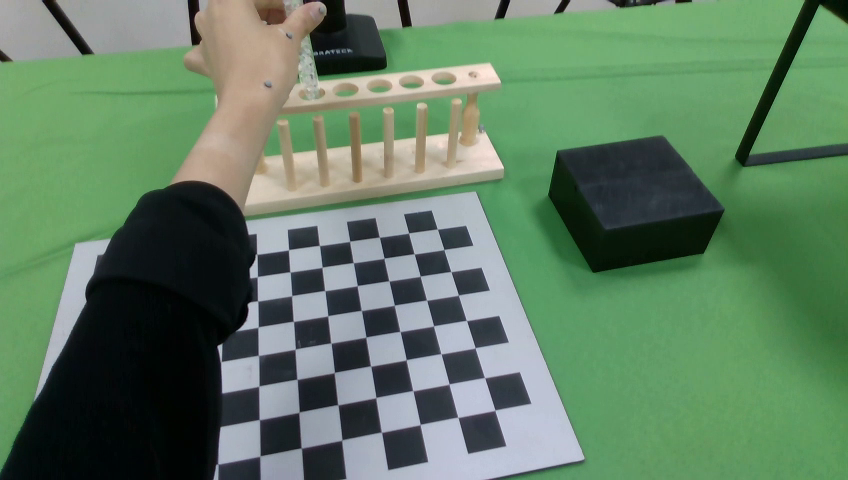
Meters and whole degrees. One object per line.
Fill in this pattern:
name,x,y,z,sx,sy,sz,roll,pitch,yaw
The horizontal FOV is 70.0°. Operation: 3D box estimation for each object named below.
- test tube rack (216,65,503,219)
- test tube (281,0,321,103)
test tube rack,-0.051,-0.089,0.541,0.243,0.086,0.066,-9,46,-10
test tube,-0.097,-0.161,0.467,0.017,0.151,0.017,0,53,1
